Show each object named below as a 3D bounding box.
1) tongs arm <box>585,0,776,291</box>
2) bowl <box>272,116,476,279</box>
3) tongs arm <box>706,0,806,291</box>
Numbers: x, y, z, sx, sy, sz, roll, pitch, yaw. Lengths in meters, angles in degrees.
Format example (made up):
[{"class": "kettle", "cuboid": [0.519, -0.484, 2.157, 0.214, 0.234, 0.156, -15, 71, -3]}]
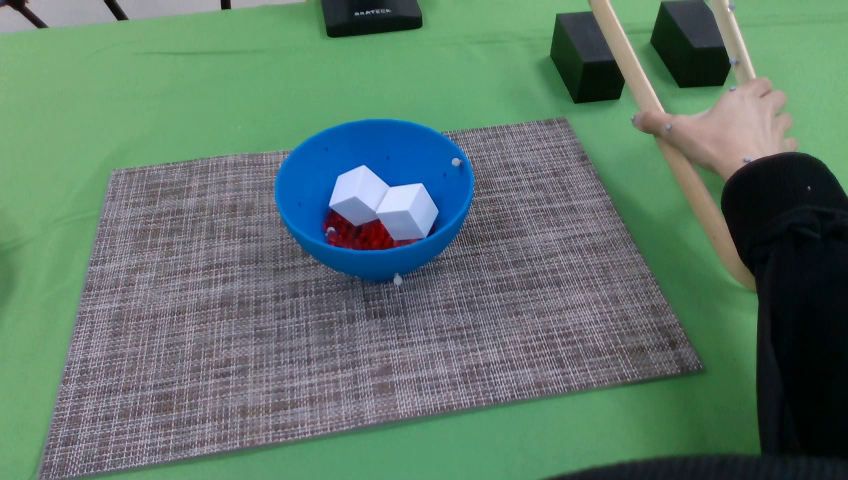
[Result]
[{"class": "tongs arm", "cuboid": [0.202, -0.131, 0.541, 0.028, 0.028, 0.384, -12, 67, -13]}, {"class": "bowl", "cuboid": [-0.037, -0.022, 0.481, 0.151, 0.077, 0.150, 0, 48, 0]}, {"class": "tongs arm", "cuboid": [0.274, -0.140, 0.549, 0.051, 0.027, 0.381, -3, 66, -6]}]
